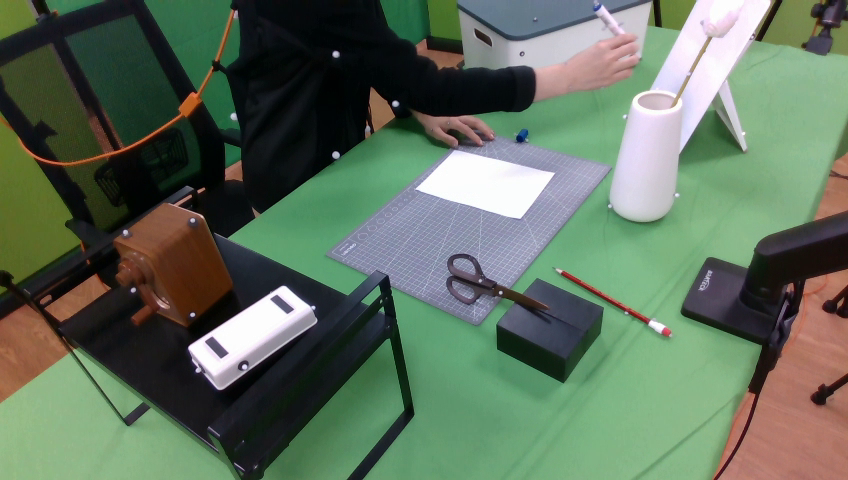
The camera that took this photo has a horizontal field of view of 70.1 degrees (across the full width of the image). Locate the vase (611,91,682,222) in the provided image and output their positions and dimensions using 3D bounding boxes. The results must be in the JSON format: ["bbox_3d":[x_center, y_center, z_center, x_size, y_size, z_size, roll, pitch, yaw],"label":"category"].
[{"bbox_3d":[0.348,-0.125,0.936,0.098,0.201,0.097,-3,40,3],"label":"vase"}]

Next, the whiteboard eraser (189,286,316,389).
[{"bbox_3d":[-0.166,0.096,0.593,0.113,0.042,0.055,-36,47,-29],"label":"whiteboard eraser"}]

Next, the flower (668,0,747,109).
[{"bbox_3d":[0.355,-0.187,0.879,0.038,0.362,0.044,30,48,14],"label":"flower"}]

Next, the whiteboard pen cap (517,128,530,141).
[{"bbox_3d":[0.195,-0.207,1.192,0.018,0.018,0.033,14,41,23],"label":"whiteboard pen cap"}]

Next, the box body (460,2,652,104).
[{"bbox_3d":[0.291,-0.465,1.371,0.365,0.161,0.252,-22,42,-16],"label":"box body"}]

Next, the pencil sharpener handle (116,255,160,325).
[{"bbox_3d":[-0.286,0.050,0.594,0.035,0.068,0.031,7,41,35],"label":"pencil sharpener handle"}]

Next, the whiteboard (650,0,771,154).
[{"bbox_3d":[0.543,-0.298,1.076,0.144,0.305,0.216,12,40,-7],"label":"whiteboard"}]

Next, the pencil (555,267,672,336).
[{"bbox_3d":[0.260,0.082,0.851,0.012,0.012,0.192,-33,45,-27],"label":"pencil"}]

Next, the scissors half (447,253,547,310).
[{"bbox_3d":[0.098,0.058,0.821,0.173,0.040,0.013,27,33,36],"label":"scissors half"}]

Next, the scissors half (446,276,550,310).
[{"bbox_3d":[0.098,0.077,0.827,0.174,0.040,0.013,6,14,44],"label":"scissors half"}]

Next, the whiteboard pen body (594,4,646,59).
[{"bbox_3d":[0.330,-0.344,1.008,0.017,0.142,0.017,-36,38,34],"label":"whiteboard pen body"}]

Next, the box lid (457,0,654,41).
[{"bbox_3d":[0.285,-0.522,1.323,0.373,0.015,0.261,-22,43,-16],"label":"box lid"}]

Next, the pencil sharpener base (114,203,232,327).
[{"bbox_3d":[-0.261,0.029,0.635,0.061,0.107,0.077,18,47,27],"label":"pencil sharpener base"}]
